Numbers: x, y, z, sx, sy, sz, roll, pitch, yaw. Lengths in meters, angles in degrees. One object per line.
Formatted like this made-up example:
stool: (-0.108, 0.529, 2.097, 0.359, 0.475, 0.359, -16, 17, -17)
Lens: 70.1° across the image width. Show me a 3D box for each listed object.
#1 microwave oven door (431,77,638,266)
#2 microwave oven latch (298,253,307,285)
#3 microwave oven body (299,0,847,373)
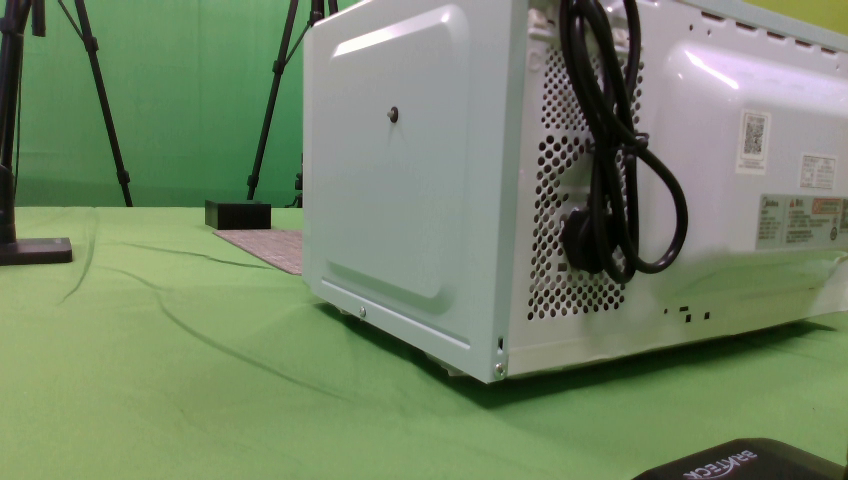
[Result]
microwave oven door: (0.143, -0.106, 0.903, 0.039, 0.243, 0.354, -4, 9, -41)
microwave oven latch: (-0.081, 0.027, 0.582, 0.079, 0.029, 0.030, -1, 7, -32)
microwave oven body: (0.151, -0.055, 0.542, 0.444, 0.260, 0.324, -2, 7, -33)
